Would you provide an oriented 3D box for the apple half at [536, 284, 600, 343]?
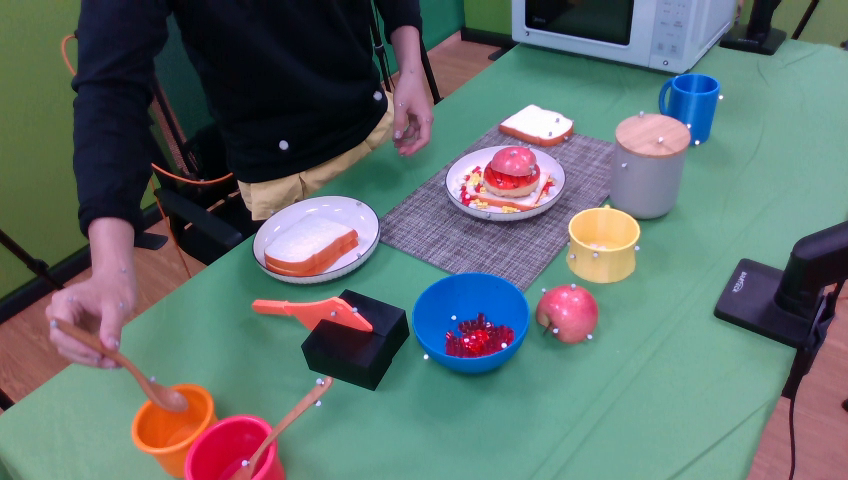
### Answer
[{"bbox_3d":[0.196,0.091,0.815,0.075,0.053,0.080,-22,42,-20],"label":"apple half"}]

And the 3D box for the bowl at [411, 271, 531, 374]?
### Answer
[{"bbox_3d":[0.062,0.119,0.780,0.151,0.077,0.150,-4,40,4],"label":"bowl"}]

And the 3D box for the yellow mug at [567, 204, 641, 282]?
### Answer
[{"bbox_3d":[0.268,-0.005,0.905,0.099,0.064,0.130,6,41,16],"label":"yellow mug"}]

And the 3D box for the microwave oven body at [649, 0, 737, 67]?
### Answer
[{"bbox_3d":[0.475,-0.602,1.411,0.438,0.261,0.327,23,50,32],"label":"microwave oven body"}]

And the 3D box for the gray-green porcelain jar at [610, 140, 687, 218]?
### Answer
[{"bbox_3d":[0.354,-0.106,0.964,0.106,0.127,0.105,-4,41,4],"label":"gray-green porcelain jar"}]

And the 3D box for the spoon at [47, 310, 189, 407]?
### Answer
[{"bbox_3d":[-0.314,0.125,0.633,0.021,0.195,0.041,-35,43,-9],"label":"spoon"}]

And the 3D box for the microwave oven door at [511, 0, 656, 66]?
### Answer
[{"bbox_3d":[0.350,-0.539,1.348,0.353,0.245,0.039,24,50,31],"label":"microwave oven door"}]

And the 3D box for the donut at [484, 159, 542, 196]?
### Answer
[{"bbox_3d":[0.150,-0.112,1.018,0.099,0.048,0.098,-4,40,4],"label":"donut"}]

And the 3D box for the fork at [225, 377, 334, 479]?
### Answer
[{"bbox_3d":[-0.163,0.216,0.646,0.207,0.019,0.028,-49,42,16],"label":"fork"}]

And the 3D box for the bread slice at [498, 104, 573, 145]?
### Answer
[{"bbox_3d":[0.231,-0.231,1.205,0.105,0.019,0.130,-36,47,-28],"label":"bread slice"}]

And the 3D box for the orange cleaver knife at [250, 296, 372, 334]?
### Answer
[{"bbox_3d":[-0.158,0.103,0.828,0.210,0.078,0.012,-4,43,39],"label":"orange cleaver knife"}]

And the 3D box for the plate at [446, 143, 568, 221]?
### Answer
[{"bbox_3d":[0.142,-0.097,1.045,0.207,0.039,0.206,-4,40,4],"label":"plate"}]

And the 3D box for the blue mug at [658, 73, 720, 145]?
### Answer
[{"bbox_3d":[0.483,-0.250,1.127,0.082,0.106,0.115,-26,44,-19],"label":"blue mug"}]

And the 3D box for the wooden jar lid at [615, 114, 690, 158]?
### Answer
[{"bbox_3d":[0.347,-0.155,0.923,0.108,0.021,0.108,-3,44,4],"label":"wooden jar lid"}]

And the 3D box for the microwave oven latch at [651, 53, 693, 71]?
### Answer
[{"bbox_3d":[0.532,-0.386,1.301,0.078,0.029,0.030,27,52,34],"label":"microwave oven latch"}]

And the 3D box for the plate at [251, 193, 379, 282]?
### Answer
[{"bbox_3d":[-0.174,-0.001,0.984,0.209,0.038,0.208,-4,40,4],"label":"plate"}]

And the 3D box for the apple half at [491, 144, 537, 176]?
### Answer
[{"bbox_3d":[0.149,-0.139,0.995,0.081,0.033,0.081,1,38,0],"label":"apple half"}]

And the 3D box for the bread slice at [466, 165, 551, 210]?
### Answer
[{"bbox_3d":[0.141,-0.093,1.041,0.133,0.018,0.107,9,42,20],"label":"bread slice"}]
